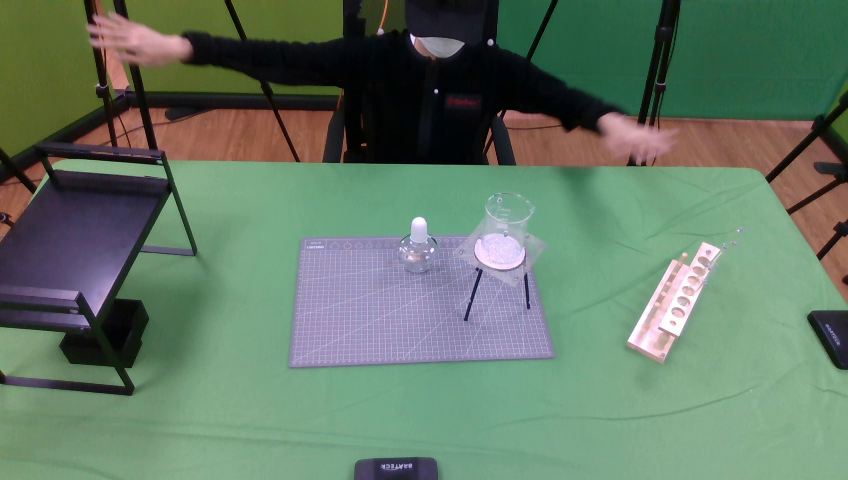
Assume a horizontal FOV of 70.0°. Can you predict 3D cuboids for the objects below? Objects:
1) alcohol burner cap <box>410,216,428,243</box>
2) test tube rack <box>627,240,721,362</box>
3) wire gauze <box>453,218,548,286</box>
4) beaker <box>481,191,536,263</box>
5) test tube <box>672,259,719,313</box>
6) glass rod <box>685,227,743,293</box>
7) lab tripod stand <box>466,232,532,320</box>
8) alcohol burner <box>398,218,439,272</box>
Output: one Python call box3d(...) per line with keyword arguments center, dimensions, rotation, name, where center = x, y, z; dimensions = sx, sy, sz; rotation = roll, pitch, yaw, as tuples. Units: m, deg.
box3d(center=(-0.009, -0.022, 1.099), dimensions=(0.034, 0.048, 0.033), rotation=(2, 41, -1), name="alcohol burner cap")
box3d(center=(0.452, 0.098, 1.087), dimensions=(0.066, 0.085, 0.242), rotation=(28, 51, 22), name="test tube rack")
box3d(center=(0.129, 0.014, 1.018), dimensions=(0.124, 0.011, 0.121), rotation=(26, 47, 25), name="wire gauze")
box3d(center=(0.134, -0.019, 0.982), dimensions=(0.084, 0.101, 0.073), rotation=(-5, 46, -8), name="beaker")
box3d(center=(0.460, 0.082, 1.032), dimensions=(0.017, 0.151, 0.017), rotation=(4, 52, -5), name="test tube")
box3d(center=(0.500, 0.041, 1.053), dimensions=(0.008, 0.200, 0.008), rotation=(4, 53, -5), name="glass rod")
box3d(center=(0.125, 0.059, 1.065), dimensions=(0.148, 0.132, 0.147), rotation=(1, 45, 0), name="lab tripod stand")
box3d(center=(-0.010, 0.004, 1.123), dimensions=(0.078, 0.120, 0.077), rotation=(1, 47, 0), name="alcohol burner")
